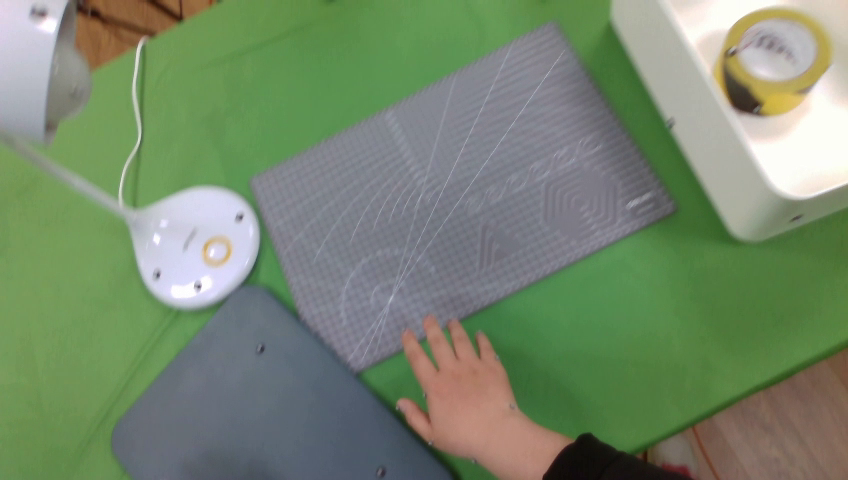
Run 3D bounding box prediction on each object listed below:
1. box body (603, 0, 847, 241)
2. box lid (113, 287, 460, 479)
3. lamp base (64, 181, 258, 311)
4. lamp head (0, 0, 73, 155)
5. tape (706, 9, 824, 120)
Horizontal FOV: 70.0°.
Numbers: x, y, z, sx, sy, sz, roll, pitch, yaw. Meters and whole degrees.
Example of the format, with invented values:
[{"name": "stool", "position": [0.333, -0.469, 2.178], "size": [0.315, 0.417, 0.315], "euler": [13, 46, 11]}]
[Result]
[{"name": "box body", "position": [0.375, -0.207, 0.644], "size": [0.254, 0.161, 0.361], "euler": [-23, 69, 3]}, {"name": "box lid", "position": [-0.168, 0.250, 0.687], "size": [0.369, 0.015, 0.263], "euler": [39, 83, 20]}, {"name": "lamp base", "position": [-0.316, -0.013, 0.713], "size": [0.178, 0.182, 0.160], "euler": [10, 74, 17]}, {"name": "lamp head", "position": [-0.327, -0.126, 0.435], "size": [0.123, 0.112, 0.111], "euler": [8, 70, -21]}, {"name": "tape", "position": [0.386, -0.201, 0.693], "size": [0.116, 0.053, 0.116], "euler": [-3, 71, 10]}]
